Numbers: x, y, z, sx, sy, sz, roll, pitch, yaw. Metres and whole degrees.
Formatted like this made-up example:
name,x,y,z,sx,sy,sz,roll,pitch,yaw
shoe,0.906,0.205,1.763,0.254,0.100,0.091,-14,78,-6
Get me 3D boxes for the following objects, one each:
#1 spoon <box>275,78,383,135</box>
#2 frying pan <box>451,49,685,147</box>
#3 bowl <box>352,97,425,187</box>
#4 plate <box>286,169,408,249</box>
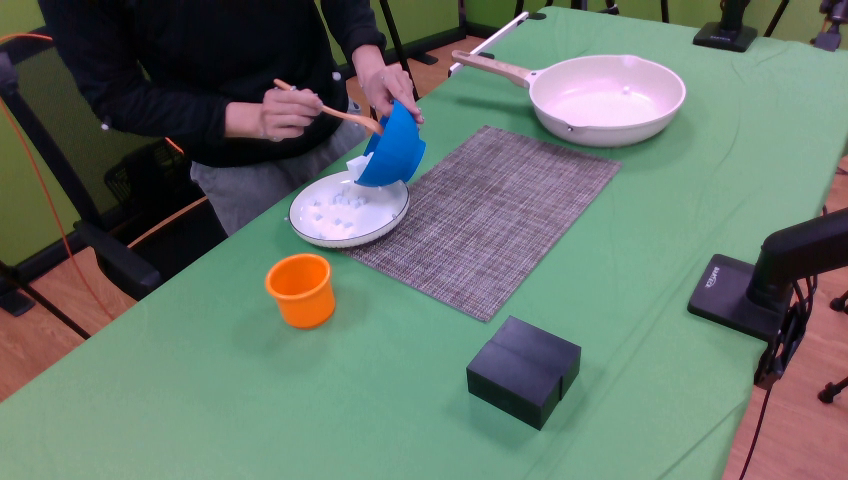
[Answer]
name,x,y,z,sx,sy,sz,roll,pitch,yaw
spoon,-0.141,-0.204,0.944,0.195,0.021,0.041,20,26,-18
frying pan,0.269,-0.316,1.233,0.485,0.103,0.307,26,49,21
bowl,-0.050,-0.145,0.978,0.077,0.151,0.150,24,38,-16
plate,-0.127,-0.050,1.028,0.207,0.039,0.206,-5,39,5
